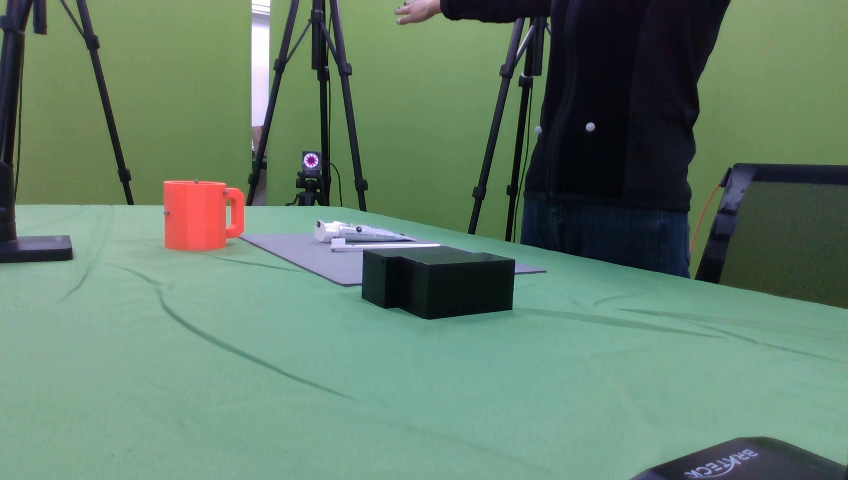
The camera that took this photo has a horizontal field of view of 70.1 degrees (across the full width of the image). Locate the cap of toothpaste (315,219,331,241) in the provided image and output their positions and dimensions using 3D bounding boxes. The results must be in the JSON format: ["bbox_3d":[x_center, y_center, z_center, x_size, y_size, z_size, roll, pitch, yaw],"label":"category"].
[{"bbox_3d":[-0.165,-0.016,0.982,0.011,0.037,0.037,-8,12,-43],"label":"cap of toothpaste"}]

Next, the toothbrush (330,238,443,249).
[{"bbox_3d":[-0.054,0.006,0.927,0.183,0.016,0.014,1,-8,-23],"label":"toothbrush"}]

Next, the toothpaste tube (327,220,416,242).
[{"bbox_3d":[-0.095,-0.012,1.026,0.166,0.034,0.055,2,13,-33],"label":"toothpaste tube"}]

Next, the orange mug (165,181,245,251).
[{"bbox_3d":[-0.326,-0.040,0.911,0.083,0.101,0.127,8,14,37],"label":"orange mug"}]
